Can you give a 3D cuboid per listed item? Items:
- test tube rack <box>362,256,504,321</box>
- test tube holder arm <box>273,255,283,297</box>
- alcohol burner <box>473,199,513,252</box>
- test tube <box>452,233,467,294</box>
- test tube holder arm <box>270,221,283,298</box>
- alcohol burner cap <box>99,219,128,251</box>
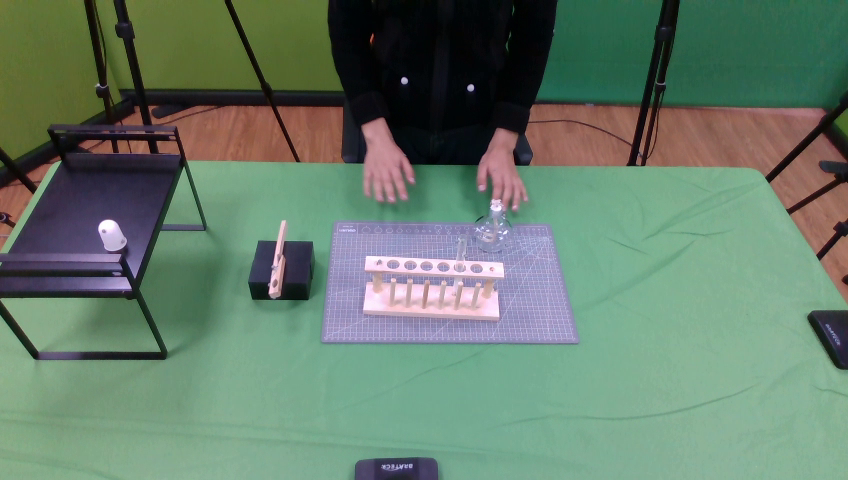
[{"bbox_3d":[0.014,0.085,1.069,0.242,0.085,0.066,3,45,-2],"label":"test tube rack"},{"bbox_3d":[-0.253,0.062,1.055,0.010,0.015,0.087,-5,46,-3],"label":"test tube holder arm"},{"bbox_3d":[0.135,-0.034,1.174,0.078,0.120,0.077,1,47,-1],"label":"alcohol burner"},{"bbox_3d":[0.061,0.045,1.044,0.017,0.151,0.017,1,47,-1],"label":"test tube"},{"bbox_3d":[-0.264,0.031,1.086,0.013,0.015,0.177,-6,46,-4],"label":"test tube holder arm"},{"bbox_3d":[-0.466,-0.010,0.907,0.034,0.048,0.033,1,47,-1],"label":"alcohol burner cap"}]
